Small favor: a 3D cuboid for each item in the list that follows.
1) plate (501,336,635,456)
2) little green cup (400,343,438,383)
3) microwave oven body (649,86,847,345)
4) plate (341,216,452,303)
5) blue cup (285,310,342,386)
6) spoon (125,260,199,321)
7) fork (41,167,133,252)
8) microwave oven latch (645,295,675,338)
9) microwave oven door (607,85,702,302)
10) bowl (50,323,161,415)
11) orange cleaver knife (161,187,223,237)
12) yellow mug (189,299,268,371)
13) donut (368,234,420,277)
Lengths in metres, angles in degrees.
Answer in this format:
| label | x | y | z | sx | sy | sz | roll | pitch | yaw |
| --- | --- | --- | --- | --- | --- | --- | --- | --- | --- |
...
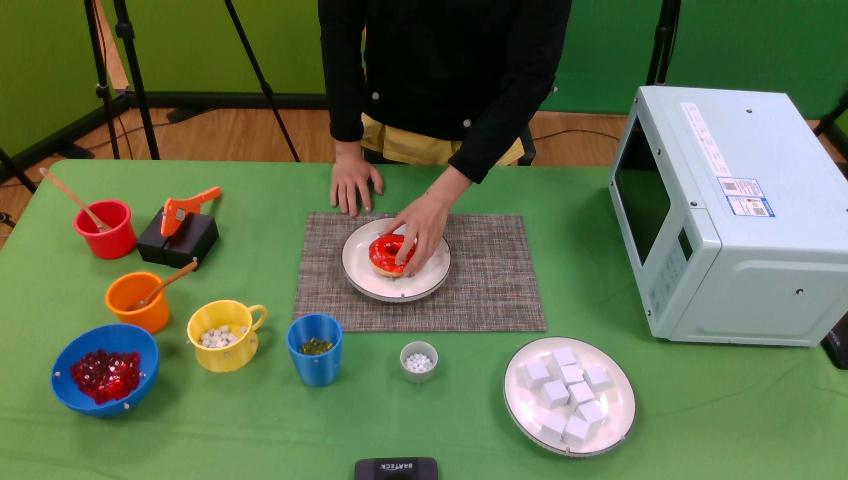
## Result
| label | x | y | z | sx | sy | sz | roll | pitch | yaw |
| --- | --- | --- | --- | --- | --- | --- | --- | --- | --- |
| plate | 0.225 | 0.248 | 0.963 | 0.208 | 0.039 | 0.206 | 2 | 46 | -2 |
| little green cup | -0.010 | 0.202 | 0.991 | 0.061 | 0.039 | 0.061 | 2 | 47 | -2 |
| microwave oven body | 0.568 | -0.053 | 1.118 | 0.326 | 0.261 | 0.439 | 2 | 45 | -1 |
| plate | -0.052 | 0.039 | 1.140 | 0.209 | 0.038 | 0.208 | 2 | 46 | -2 |
| blue cup | -0.170 | 0.179 | 0.958 | 0.093 | 0.101 | 0.092 | 1 | 44 | -1 |
| spoon | -0.434 | 0.083 | 1.000 | 0.022 | 0.194 | 0.041 | 34 | 34 | -35 |
| fork | -0.624 | -0.056 | 1.121 | 0.208 | 0.018 | 0.028 | 49 | 51 | -15 |
| microwave oven latch | 0.411 | 0.134 | 1.061 | 0.030 | 0.029 | 0.078 | 3 | 45 | 0 |
| microwave oven door | 0.423 | -0.094 | 1.141 | 0.039 | 0.245 | 0.353 | 2 | 46 | -1 |
| bowl | -0.472 | 0.209 | 0.924 | 0.151 | 0.077 | 0.150 | 3 | 45 | -2 |
| orange cleaver knife | -0.448 | -0.058 | 1.181 | 0.012 | 0.077 | 0.211 | 13 | 17 | 6 |
| yellow mug | -0.316 | 0.148 | 1.002 | 0.131 | 0.064 | 0.099 | -32 | 56 | -31 |
| donut | -0.057 | 0.030 | 1.132 | 0.099 | 0.048 | 0.098 | 1 | 42 | -1 |
